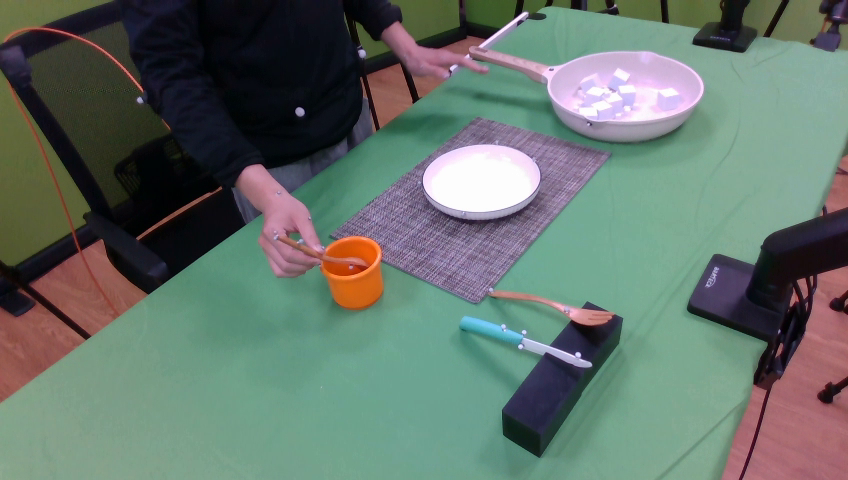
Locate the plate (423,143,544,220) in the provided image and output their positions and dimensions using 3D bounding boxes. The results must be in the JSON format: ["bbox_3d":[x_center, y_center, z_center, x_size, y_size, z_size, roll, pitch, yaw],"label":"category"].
[{"bbox_3d":[0.102,-0.097,1.048,0.207,0.039,0.206,-4,40,4],"label":"plate"}]

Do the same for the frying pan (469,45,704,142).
[{"bbox_3d":[0.307,-0.326,1.239,0.485,0.103,0.307,26,49,22],"label":"frying pan"}]

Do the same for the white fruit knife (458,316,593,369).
[{"bbox_3d":[0.120,0.127,0.757,0.205,0.027,0.016,12,44,43],"label":"white fruit knife"}]

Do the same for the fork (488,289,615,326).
[{"bbox_3d":[0.160,0.086,0.800,0.205,0.019,0.028,12,48,48],"label":"fork"}]

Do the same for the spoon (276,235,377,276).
[{"bbox_3d":[-0.131,0.024,0.842,0.041,0.195,0.021,13,85,36],"label":"spoon"}]
